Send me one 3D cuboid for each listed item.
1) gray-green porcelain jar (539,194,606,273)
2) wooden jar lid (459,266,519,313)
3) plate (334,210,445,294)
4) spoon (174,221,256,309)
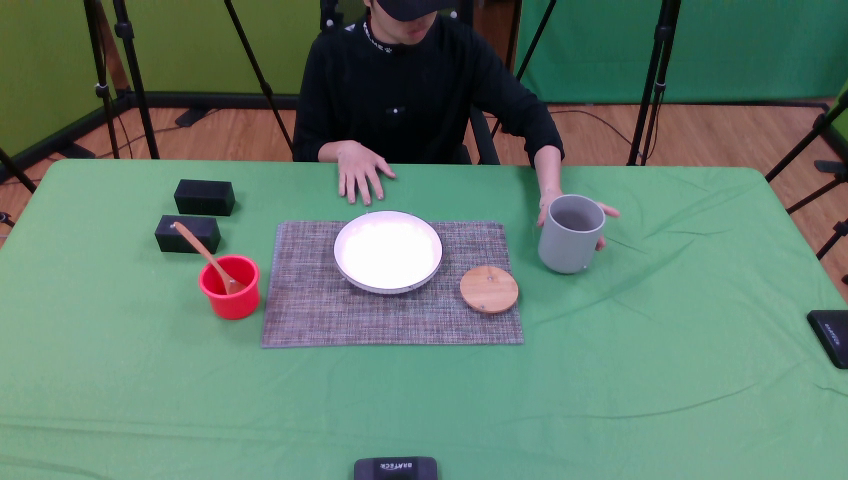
[{"bbox_3d":[0.277,-0.007,1.151,0.106,0.127,0.105,2,46,-1],"label":"gray-green porcelain jar"},{"bbox_3d":[0.118,0.093,1.111,0.108,0.021,0.107,1,47,-1],"label":"wooden jar lid"},{"bbox_3d":[-0.066,0.026,1.150,0.208,0.039,0.206,2,46,-2],"label":"plate"},{"bbox_3d":[-0.360,0.043,1.043,0.194,0.021,0.041,54,51,-14],"label":"spoon"}]
